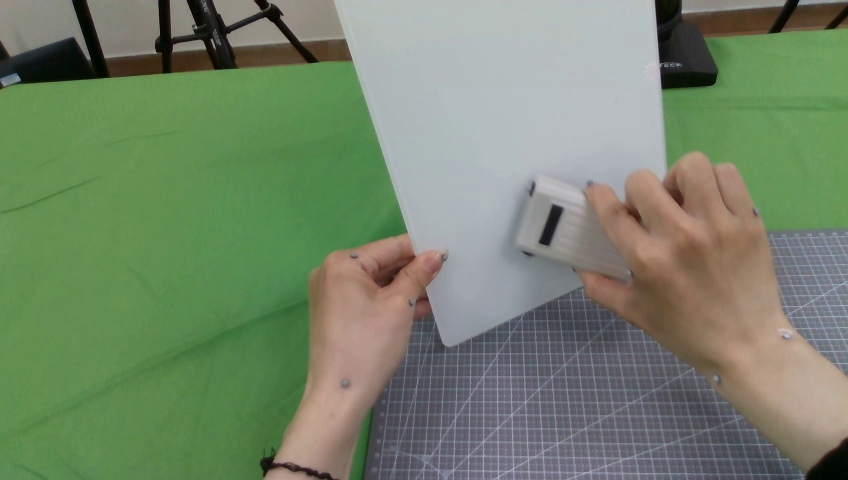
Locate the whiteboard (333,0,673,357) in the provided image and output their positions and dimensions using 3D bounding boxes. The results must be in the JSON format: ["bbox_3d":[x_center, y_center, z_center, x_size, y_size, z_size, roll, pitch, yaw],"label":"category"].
[{"bbox_3d":[0.054,-0.105,0.478,0.217,0.308,0.142,-23,28,-11],"label":"whiteboard"}]

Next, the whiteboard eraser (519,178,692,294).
[{"bbox_3d":[0.129,-0.004,0.441,0.112,0.056,0.041,17,26,2],"label":"whiteboard eraser"}]
